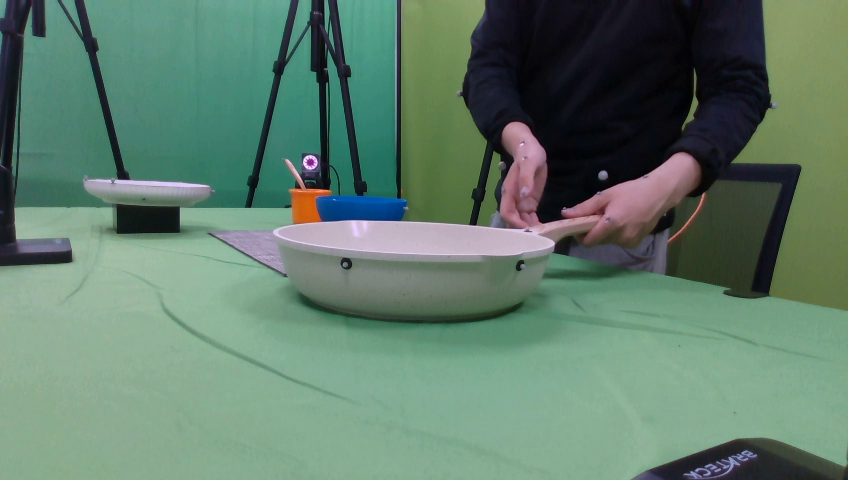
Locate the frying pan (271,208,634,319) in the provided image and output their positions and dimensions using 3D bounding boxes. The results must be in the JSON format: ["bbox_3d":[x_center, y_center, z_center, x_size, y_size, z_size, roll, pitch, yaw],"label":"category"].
[{"bbox_3d":[0.076,0.003,0.695,0.490,0.102,0.305,-12,14,-30],"label":"frying pan"}]

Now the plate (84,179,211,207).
[{"bbox_3d":[-0.495,-0.085,1.093,0.208,0.039,0.207,4,7,0],"label":"plate"}]

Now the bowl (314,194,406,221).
[{"bbox_3d":[-0.105,-0.032,0.991,0.151,0.077,0.151,3,7,0],"label":"bowl"}]

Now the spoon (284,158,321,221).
[{"bbox_3d":[-0.269,-0.113,1.335,0.042,0.193,0.021,-4,-34,-42],"label":"spoon"}]
